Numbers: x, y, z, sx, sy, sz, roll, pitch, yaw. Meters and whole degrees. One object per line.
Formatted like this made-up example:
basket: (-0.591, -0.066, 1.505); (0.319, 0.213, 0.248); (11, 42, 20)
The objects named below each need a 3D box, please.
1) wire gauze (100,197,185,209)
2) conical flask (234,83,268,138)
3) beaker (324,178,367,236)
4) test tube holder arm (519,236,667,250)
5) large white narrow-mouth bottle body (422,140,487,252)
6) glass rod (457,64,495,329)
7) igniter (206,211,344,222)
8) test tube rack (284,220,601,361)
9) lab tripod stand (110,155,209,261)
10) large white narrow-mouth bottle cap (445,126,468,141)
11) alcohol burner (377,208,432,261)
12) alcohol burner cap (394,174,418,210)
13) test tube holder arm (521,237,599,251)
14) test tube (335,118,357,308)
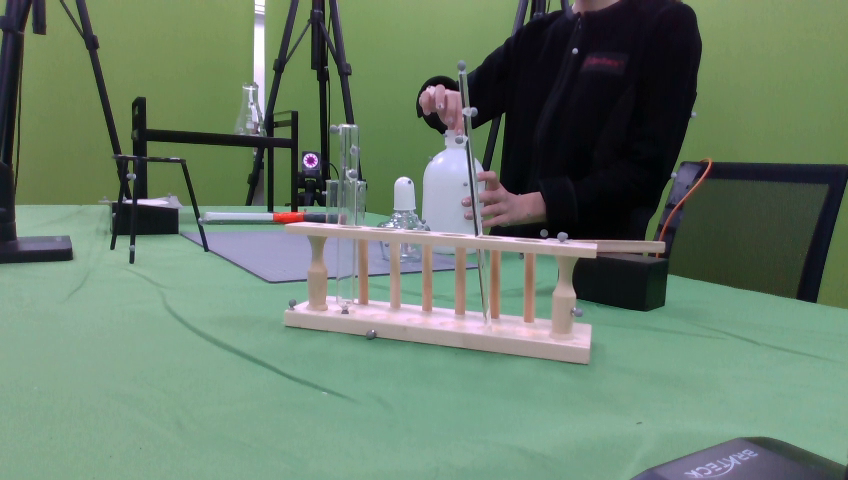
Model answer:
wire gauze: (-0.469, -0.062, 1.008); (0.126, 0.011, 0.121); (-2, 8, -25)
conical flask: (-0.400, -0.298, 1.396); (0.075, 0.122, 0.075); (2, 8, 0)
beaker: (-0.139, -0.060, 1.083); (0.074, 0.100, 0.083); (-3, 10, -31)
test tube holder arm: (0.186, 0.003, 0.654); (0.179, 0.015, 0.013); (0, 13, -18)
large white narrow-mouth bottle body: (0.050, -0.082, 0.962); (0.102, 0.194, 0.102); (2, 8, 0)
glass rod: (0.040, -0.029, 0.449); (0.008, 0.199, 0.008); (-7, 9, 1)
igniter: (-0.302, -0.048, 1.249); (0.278, 0.025, 0.057); (-2, -2, -27)
test tube rack: (0.013, 0.032, 0.482); (0.242, 0.085, 0.067); (4, 7, 16)
lab tripod stand: (-0.361, -0.046, 0.806); (0.148, 0.131, 0.148); (2, 5, 0)
large white narrow-mouth bottle cap: (0.051, -0.167, 0.950); (0.038, 0.024, 0.037); (2, 8, 0)
alcohol burner: (-0.027, -0.031, 0.838); (0.078, 0.119, 0.078); (0, 6, 0)
alcohol burner cap: (-0.026, -0.067, 0.833); (0.034, 0.048, 0.034); (-1, 12, 1)
test tube holder arm: (0.144, 0.004, 0.635); (0.088, 0.015, 0.010); (0, 13, -19)
test tube: (-0.061, -0.019, 0.476); (0.017, 0.150, 0.017); (2, 11, 0)
